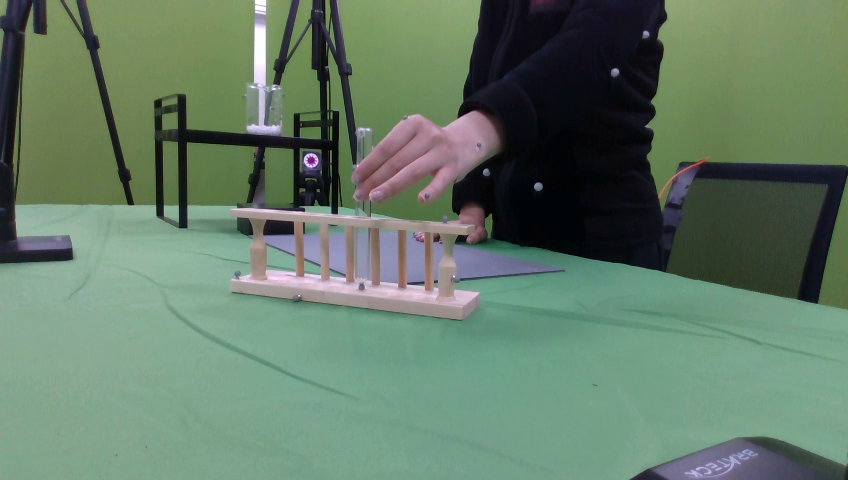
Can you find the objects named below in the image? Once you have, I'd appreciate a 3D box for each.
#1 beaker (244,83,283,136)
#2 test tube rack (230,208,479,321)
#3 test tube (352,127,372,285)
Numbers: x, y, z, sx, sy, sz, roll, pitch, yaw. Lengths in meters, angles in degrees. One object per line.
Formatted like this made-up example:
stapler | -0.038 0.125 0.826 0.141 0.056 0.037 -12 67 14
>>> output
beaker | -0.322 -0.260 1.215 0.074 0.100 0.083 -1 9 -27
test tube rack | -0.069 0.018 0.598 0.242 0.085 0.067 5 7 18
test tube | -0.059 -0.032 0.575 0.017 0.150 0.017 2 8 0
